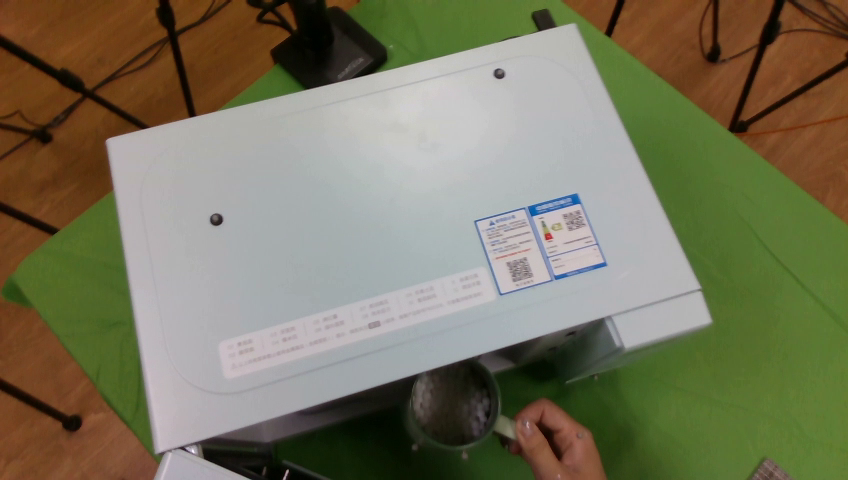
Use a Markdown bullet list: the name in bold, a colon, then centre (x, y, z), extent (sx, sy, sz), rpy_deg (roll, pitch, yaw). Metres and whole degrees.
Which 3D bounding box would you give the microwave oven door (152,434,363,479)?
- **microwave oven door**: centre (-0.026, 0.252, 0.528), extent (0.355, 0.245, 0.039), rpy_deg (20, 73, 6)

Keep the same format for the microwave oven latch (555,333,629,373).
- **microwave oven latch**: centre (0.190, 0.126, 0.681), extent (0.079, 0.029, 0.030), rpy_deg (-14, 72, -5)

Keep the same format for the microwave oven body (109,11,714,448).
- **microwave oven body**: centre (-0.022, 0.009, 0.616), extent (0.442, 0.261, 0.323), rpy_deg (-16, 73, -5)

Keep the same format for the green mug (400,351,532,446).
- **green mug**: centre (0.040, 0.150, 0.559), extent (0.125, 0.105, 0.092), rpy_deg (22, 74, 3)
